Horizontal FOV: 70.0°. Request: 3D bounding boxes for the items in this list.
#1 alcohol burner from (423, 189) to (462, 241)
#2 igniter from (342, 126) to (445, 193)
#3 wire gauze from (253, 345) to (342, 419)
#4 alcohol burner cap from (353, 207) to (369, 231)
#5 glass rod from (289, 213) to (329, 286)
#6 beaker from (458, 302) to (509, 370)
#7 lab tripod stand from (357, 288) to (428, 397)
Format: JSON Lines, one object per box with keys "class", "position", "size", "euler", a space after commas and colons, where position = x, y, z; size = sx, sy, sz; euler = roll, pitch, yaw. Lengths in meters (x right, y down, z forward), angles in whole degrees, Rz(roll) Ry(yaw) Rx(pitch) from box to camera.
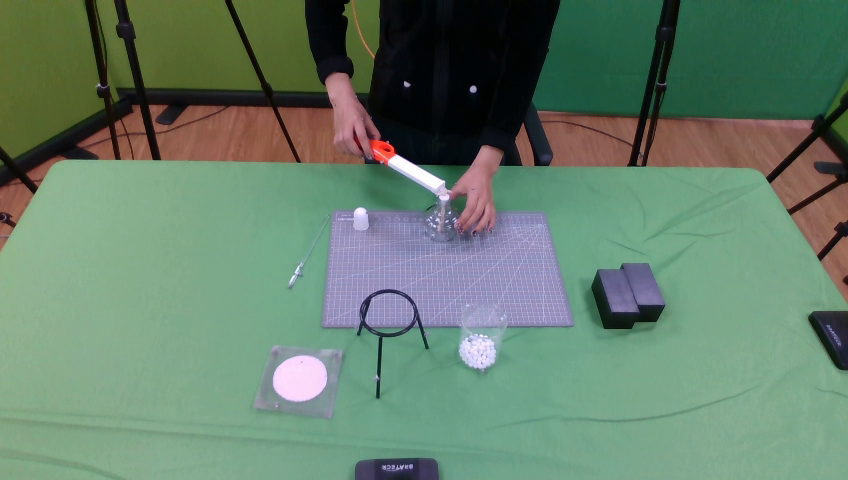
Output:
{"class": "alcohol burner", "position": [0.036, -0.055, 1.186], "size": [0.078, 0.120, 0.077], "euler": [1, 48, -1]}
{"class": "igniter", "position": [-0.070, -0.167, 1.223], "size": [0.275, 0.025, 0.057], "euler": [33, 54, 27]}
{"class": "wire gauze", "position": [-0.200, 0.224, 0.979], "size": [0.125, 0.011, 0.121], "euler": [7, 47, 0]}
{"class": "alcohol burner cap", "position": [-0.127, -0.046, 1.215], "size": [0.034, 0.048, 0.033], "euler": [2, 47, -2]}
{"class": "glass rod", "position": [-0.221, 0.014, 1.179], "size": [0.008, 0.008, 0.199], "euler": [12, 46, 8]}
{"class": "beaker", "position": [0.092, 0.159, 0.999], "size": [0.083, 0.101, 0.074], "euler": [35, 53, 28]}
{"class": "lab tripod stand", "position": [-0.058, 0.155, 0.967], "size": [0.148, 0.132, 0.147], "euler": [3, 47, -3]}
